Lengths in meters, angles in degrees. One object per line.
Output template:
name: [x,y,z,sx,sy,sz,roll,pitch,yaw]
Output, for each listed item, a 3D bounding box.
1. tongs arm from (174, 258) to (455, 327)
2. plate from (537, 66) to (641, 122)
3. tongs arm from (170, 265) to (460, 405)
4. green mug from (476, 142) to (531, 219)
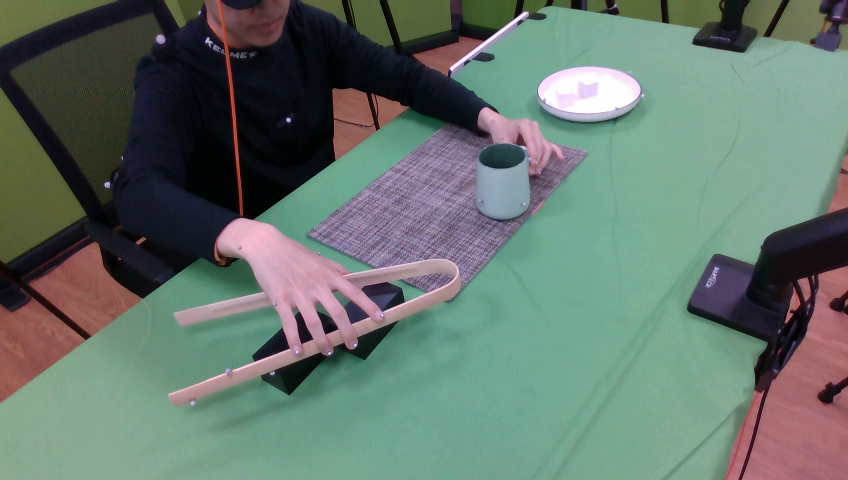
tongs arm: [-0.148,0.073,0.832,0.388,0.028,0.028,-11,33,-2]
plate: [0.338,-0.299,1.255,0.209,0.038,0.208,-4,41,4]
tongs arm: [-0.126,0.116,0.772,0.386,0.026,0.050,-19,37,-12]
green mug: [0.140,-0.106,1.002,0.092,0.105,0.125,21,48,30]
